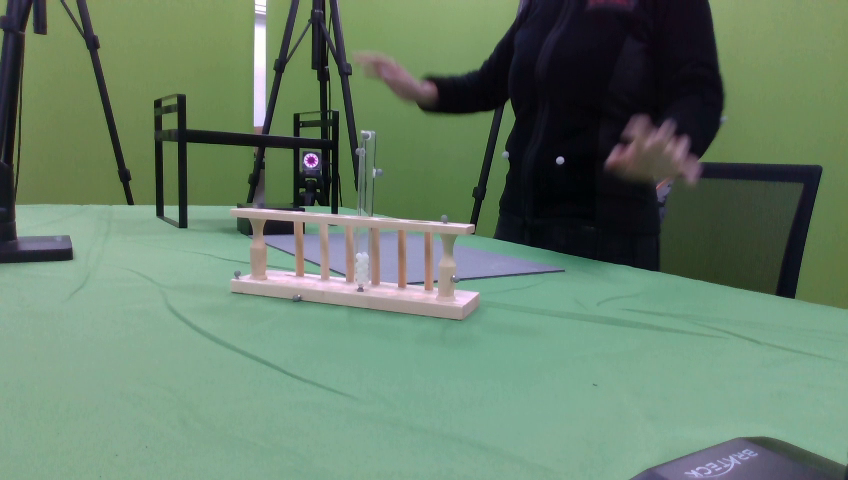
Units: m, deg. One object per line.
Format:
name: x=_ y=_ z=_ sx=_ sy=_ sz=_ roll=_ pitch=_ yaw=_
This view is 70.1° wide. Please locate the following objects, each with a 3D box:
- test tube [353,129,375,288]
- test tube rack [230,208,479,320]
test tube: x=-0.057 y=-0.028 z=0.570 sx=0.017 sy=0.150 sz=0.017 roll=3 pitch=11 yaw=0
test tube rack: x=-0.069 y=0.017 z=0.598 sx=0.242 sy=0.085 sz=0.067 roll=5 pitch=8 yaw=18
